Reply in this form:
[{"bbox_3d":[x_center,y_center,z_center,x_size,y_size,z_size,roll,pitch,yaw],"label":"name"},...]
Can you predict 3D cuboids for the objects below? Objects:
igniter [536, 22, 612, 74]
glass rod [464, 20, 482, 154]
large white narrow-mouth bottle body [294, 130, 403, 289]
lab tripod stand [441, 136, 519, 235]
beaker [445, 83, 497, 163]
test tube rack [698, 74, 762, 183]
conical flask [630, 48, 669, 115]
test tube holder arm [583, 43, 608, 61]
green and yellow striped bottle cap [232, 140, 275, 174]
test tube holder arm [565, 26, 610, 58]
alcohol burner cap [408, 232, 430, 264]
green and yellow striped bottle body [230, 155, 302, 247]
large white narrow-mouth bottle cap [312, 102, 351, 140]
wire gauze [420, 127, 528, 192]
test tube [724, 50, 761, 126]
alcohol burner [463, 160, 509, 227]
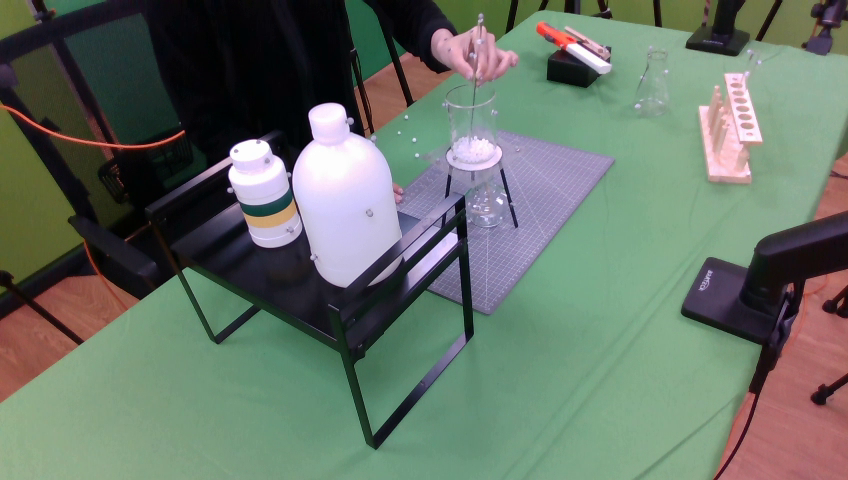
[{"bbox_3d":[0.330,-0.438,1.366,0.057,0.025,0.274,-11,41,-19],"label":"igniter"},{"bbox_3d":[0.069,-0.210,0.852,0.008,0.200,0.008,2,38,-1],"label":"glass rod"},{"bbox_3d":[-0.082,-0.047,0.634,0.102,0.195,0.101,-4,39,4],"label":"large white narrow-mouth bottle body"},{"bbox_3d":[0.083,-0.086,0.976,0.148,0.132,0.147,-4,42,4],"label":"lab tripod stand"},{"bbox_3d":[0.073,-0.174,0.904,0.074,0.101,0.084,3,41,13],"label":"beaker"},{"bbox_3d":[0.547,-0.208,1.095,0.066,0.085,0.242,5,42,15],"label":"test tube rack"},{"bbox_3d":[0.456,-0.317,1.205,0.075,0.122,0.075,-4,41,4],"label":"conical flask"},{"bbox_3d":[0.379,-0.420,1.341,0.010,0.015,0.087,-39,41,10],"label":"test tube holder arm"},{"bbox_3d":[-0.192,-0.093,0.680,0.045,0.020,0.045,-5,39,5],"label":"green and yellow striped bottle cap"},{"bbox_3d":[0.369,-0.451,1.373,0.013,0.015,0.177,-39,41,10],"label":"test tube holder arm"},{"bbox_3d":[-0.009,0.010,0.947,0.034,0.048,0.033,-4,41,4],"label":"alcohol burner cap"},{"bbox_3d":[-0.188,-0.055,0.714,0.063,0.120,0.063,-4,40,4],"label":"green and yellow striped bottle body"},{"bbox_3d":[-0.089,-0.114,0.579,0.038,0.024,0.037,-4,39,3],"label":"large white narrow-mouth bottle cap"},{"bbox_3d":[0.076,-0.131,0.927,0.122,0.011,0.124,-34,49,-25],"label":"wire gauze"},{"bbox_3d":[0.570,-0.269,1.086,0.017,0.151,0.017,-1,45,1],"label":"test tube"},{"bbox_3d":[0.102,-0.081,0.982,0.078,0.119,0.077,-4,43,4],"label":"alcohol burner"}]
